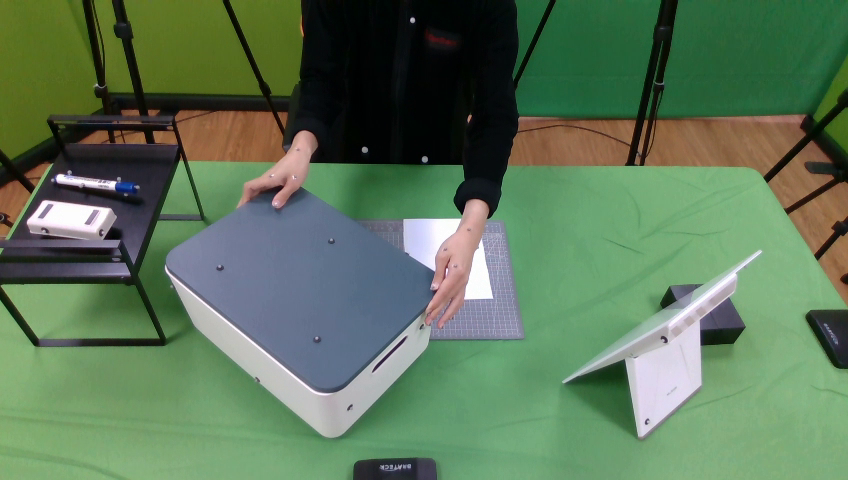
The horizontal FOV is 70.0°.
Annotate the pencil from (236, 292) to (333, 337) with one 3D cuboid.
[{"bbox_3d":[-0.244,0.131,1.056,0.194,0.012,0.012,22,49,12],"label":"pencil"}]

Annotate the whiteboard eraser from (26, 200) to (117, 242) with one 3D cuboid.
[{"bbox_3d":[-0.532,-0.026,0.919,0.113,0.042,0.055,7,45,3],"label":"whiteboard eraser"}]

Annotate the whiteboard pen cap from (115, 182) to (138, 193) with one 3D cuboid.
[{"bbox_3d":[-0.483,-0.086,0.984,0.033,0.018,0.018,6,46,10],"label":"whiteboard pen cap"}]

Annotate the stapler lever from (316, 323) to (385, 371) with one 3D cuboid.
[{"bbox_3d":[-0.121,0.171,0.978,0.118,0.040,0.027,21,51,14],"label":"stapler lever"}]

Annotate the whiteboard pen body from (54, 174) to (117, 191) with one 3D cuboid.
[{"bbox_3d":[-0.541,-0.093,0.993,0.140,0.017,0.017,7,46,9],"label":"whiteboard pen body"}]

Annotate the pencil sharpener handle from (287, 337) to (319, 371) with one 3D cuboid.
[{"bbox_3d":[-0.181,0.178,0.929,0.030,0.068,0.036,31,66,23],"label":"pencil sharpener handle"}]

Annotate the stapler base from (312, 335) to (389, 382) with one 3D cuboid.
[{"bbox_3d":[-0.123,0.189,0.997,0.130,0.024,0.041,20,51,15],"label":"stapler base"}]

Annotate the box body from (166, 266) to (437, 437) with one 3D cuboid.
[{"bbox_3d":[-0.190,0.108,0.980,0.362,0.161,0.254,32,53,23],"label":"box body"}]

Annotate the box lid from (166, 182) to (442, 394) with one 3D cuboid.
[{"bbox_3d":[-0.181,0.052,0.925,0.370,0.015,0.263,31,52,24],"label":"box lid"}]

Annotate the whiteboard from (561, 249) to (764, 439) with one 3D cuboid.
[{"bbox_3d":[0.386,0.176,0.905,0.217,0.306,0.143,-26,72,-26],"label":"whiteboard"}]

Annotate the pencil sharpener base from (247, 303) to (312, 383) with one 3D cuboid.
[{"bbox_3d":[-0.224,0.165,0.956,0.076,0.107,0.061,31,53,23],"label":"pencil sharpener base"}]
